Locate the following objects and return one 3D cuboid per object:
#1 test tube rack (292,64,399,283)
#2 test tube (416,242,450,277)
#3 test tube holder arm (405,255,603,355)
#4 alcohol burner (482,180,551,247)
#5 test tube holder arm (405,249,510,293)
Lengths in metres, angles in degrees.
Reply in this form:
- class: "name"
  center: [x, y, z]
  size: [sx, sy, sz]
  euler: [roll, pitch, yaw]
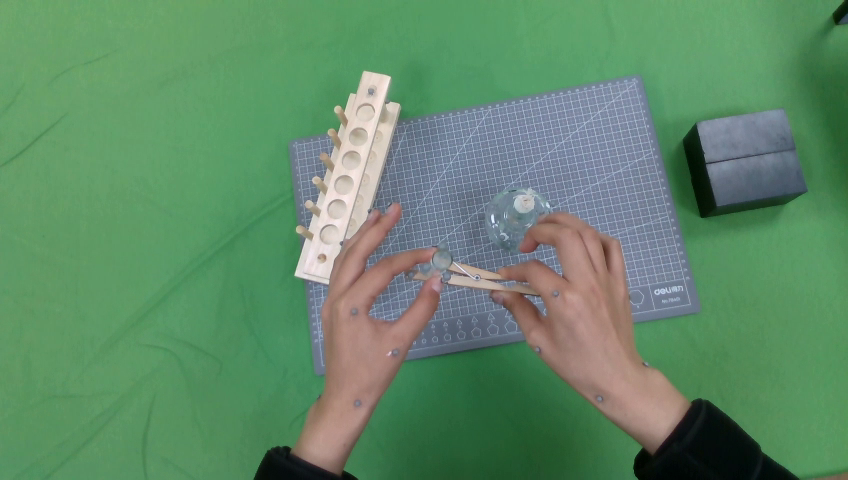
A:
- class: "test tube rack"
  center: [-0.098, -0.079, 0.712]
  size: [0.066, 0.085, 0.241]
  euler: [14, 80, 8]
- class: "test tube"
  center: [0.005, 0.018, 0.496]
  size: [0.017, 0.150, 0.017]
  euler: [1, 83, -4]
- class: "test tube holder arm"
  center: [0.067, 0.052, 0.502]
  size: [0.178, 0.015, 0.013]
  euler: [27, 119, -1]
- class: "alcohol burner"
  center: [0.104, -0.034, 0.671]
  size: [0.078, 0.119, 0.077]
  euler: [-1, 77, 4]
- class: "test tube holder arm"
  center: [0.028, 0.028, 0.499]
  size: [0.088, 0.015, 0.010]
  euler: [21, 119, 2]
